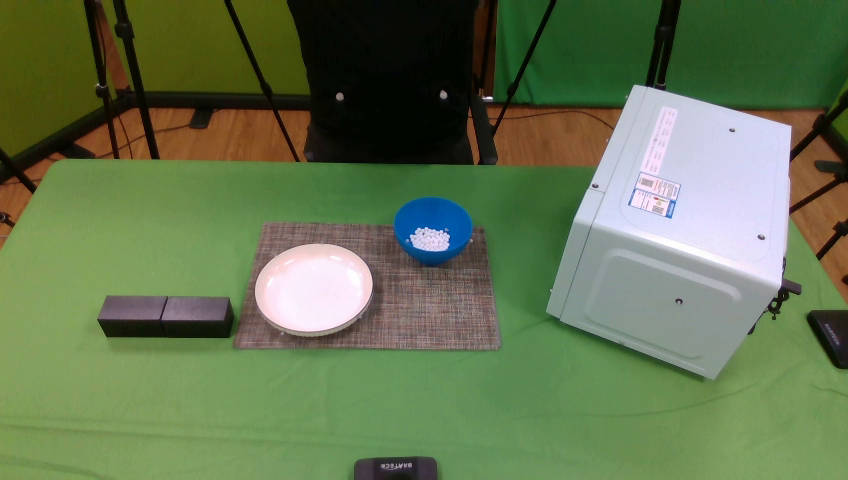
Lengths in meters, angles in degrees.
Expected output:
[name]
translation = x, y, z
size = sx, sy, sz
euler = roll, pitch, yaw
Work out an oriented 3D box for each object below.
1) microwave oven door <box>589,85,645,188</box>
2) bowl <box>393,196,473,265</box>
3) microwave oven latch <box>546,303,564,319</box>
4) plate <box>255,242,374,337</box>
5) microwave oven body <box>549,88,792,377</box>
[microwave oven door]
translation = 0.342, -0.107, 1.149
size = 0.039, 0.245, 0.354
euler = 20, 48, 15
[bowl]
translation = 0.014, -0.006, 1.159
size = 0.151, 0.077, 0.150
euler = 2, 46, -2
[microwave oven latch]
translation = 0.242, 0.102, 1.081
size = 0.030, 0.029, 0.079
euler = 21, 48, 17
[plate]
translation = -0.192, 0.090, 1.080
size = 0.208, 0.039, 0.206
euler = 2, 46, -2
[microwave oven body]
translation = 0.456, -0.028, 1.088
size = 0.325, 0.261, 0.440
euler = 20, 47, 16
